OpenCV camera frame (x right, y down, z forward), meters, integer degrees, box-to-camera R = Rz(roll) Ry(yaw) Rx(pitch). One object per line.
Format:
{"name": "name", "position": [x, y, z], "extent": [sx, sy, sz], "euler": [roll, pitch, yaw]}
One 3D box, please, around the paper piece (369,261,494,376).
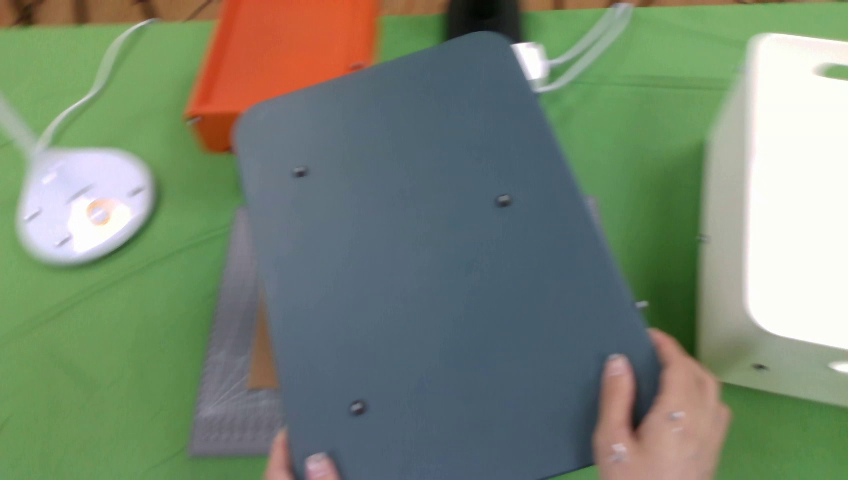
{"name": "paper piece", "position": [0.007, 0.084, 0.673], "extent": [0.135, 0.004, 0.134], "euler": [-1, 61, 2]}

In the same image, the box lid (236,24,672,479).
{"name": "box lid", "position": [-0.001, 0.004, 0.466], "extent": [0.263, 0.015, 0.368], "euler": [-18, 65, 3]}

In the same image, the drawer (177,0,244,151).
{"name": "drawer", "position": [-0.180, -0.213, 0.757], "extent": [0.194, 0.074, 0.210], "euler": [-1, 60, 3]}

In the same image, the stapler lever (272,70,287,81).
{"name": "stapler lever", "position": [-0.204, -0.199, 0.741], "extent": [0.117, 0.040, 0.027], "euler": [26, 81, 20]}

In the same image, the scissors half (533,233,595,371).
{"name": "scissors half", "position": [0.150, 0.063, 0.675], "extent": [0.040, 0.013, 0.173], "euler": [-21, 56, 9]}

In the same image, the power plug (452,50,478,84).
{"name": "power plug", "position": [0.053, -0.219, 0.803], "extent": [0.035, 0.053, 0.072], "euler": [2, 61, 3]}

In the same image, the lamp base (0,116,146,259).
{"name": "lamp base", "position": [-0.443, -0.091, 0.693], "extent": [0.178, 0.182, 0.160], "euler": [28, 65, 20]}

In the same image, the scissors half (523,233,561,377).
{"name": "scissors half", "position": [0.131, 0.068, 0.681], "extent": [0.040, 0.013, 0.174], "euler": [-8, 59, 23]}

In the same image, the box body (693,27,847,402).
{"name": "box body", "position": [0.428, -0.023, 0.629], "extent": [0.254, 0.162, 0.361], "euler": [10, 62, 8]}

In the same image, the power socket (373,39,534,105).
{"name": "power socket", "position": [0.041, -0.232, 0.836], "extent": [0.227, 0.033, 0.071], "euler": [-7, 61, -2]}

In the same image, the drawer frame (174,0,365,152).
{"name": "drawer frame", "position": [-0.182, -0.215, 0.758], "extent": [0.201, 0.083, 0.211], "euler": [-1, 60, 2]}

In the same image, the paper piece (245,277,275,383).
{"name": "paper piece", "position": [-0.125, 0.090, 0.676], "extent": [0.136, 0.009, 0.137], "euler": [-3, 62, 4]}

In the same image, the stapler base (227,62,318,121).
{"name": "stapler base", "position": [-0.196, -0.192, 0.766], "extent": [0.130, 0.024, 0.041], "euler": [26, 81, 19]}
